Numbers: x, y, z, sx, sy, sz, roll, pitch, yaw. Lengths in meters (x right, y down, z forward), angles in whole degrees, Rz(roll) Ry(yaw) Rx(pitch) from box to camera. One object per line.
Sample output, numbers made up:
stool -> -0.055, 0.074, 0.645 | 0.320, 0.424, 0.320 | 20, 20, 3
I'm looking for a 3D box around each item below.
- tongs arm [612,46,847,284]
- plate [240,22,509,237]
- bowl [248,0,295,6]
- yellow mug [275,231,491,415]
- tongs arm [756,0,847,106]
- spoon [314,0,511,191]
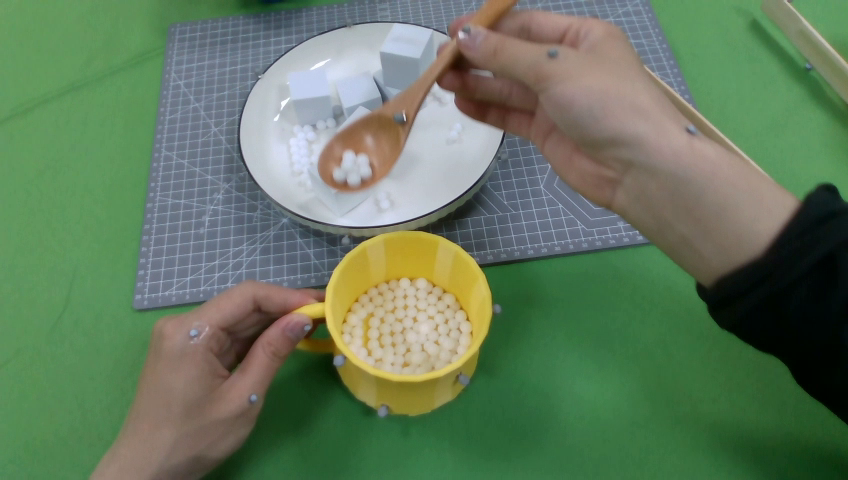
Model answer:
tongs arm -> 0.272, -0.019, 0.431 | 0.028, 0.028, 0.384 | -31, 64, -17
plate -> -0.038, -0.088, 0.482 | 0.207, 0.039, 0.206 | -1, 61, 3
bowl -> -0.151, -0.280, 0.578 | 0.151, 0.077, 0.150 | -2, 61, 4
yellow mug -> -0.027, 0.054, 0.380 | 0.131, 0.064, 0.099 | -5, 58, -7
tongs arm -> 0.345, -0.053, 0.444 | 0.051, 0.027, 0.381 | -20, 63, -8
spoon -> 0.011, -0.100, 0.335 | 0.194, 0.022, 0.041 | -45, 73, 11
